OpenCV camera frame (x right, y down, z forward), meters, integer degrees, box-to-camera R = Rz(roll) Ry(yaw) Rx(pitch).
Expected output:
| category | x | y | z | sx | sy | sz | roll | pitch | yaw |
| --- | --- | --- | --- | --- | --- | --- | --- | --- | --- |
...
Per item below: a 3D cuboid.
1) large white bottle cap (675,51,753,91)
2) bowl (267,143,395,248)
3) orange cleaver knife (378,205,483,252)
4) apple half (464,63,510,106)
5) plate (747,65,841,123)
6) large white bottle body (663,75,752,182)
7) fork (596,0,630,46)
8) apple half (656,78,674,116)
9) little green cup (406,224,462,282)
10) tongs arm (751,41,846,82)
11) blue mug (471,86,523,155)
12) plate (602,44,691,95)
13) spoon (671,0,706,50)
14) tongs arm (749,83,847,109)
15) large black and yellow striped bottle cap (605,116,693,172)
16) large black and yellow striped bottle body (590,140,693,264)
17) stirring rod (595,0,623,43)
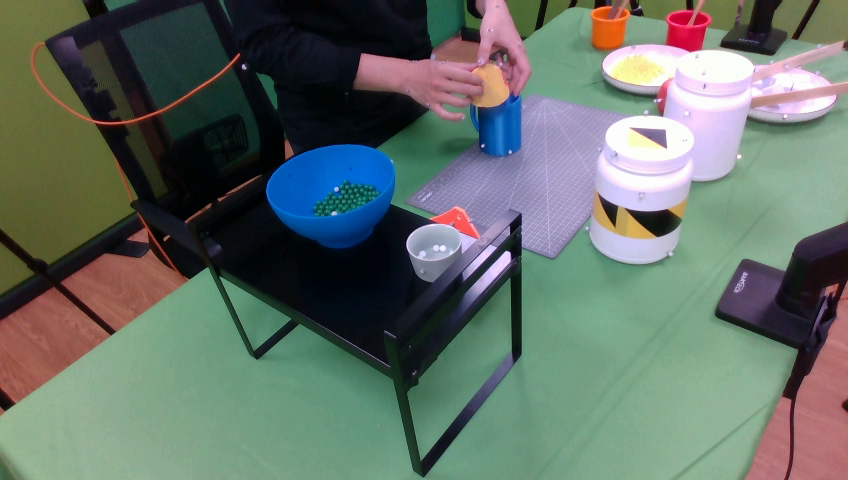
| category | x | y | z | sx | sy | sz | roll | pitch | yaw |
| --- | --- | --- | --- | --- | --- | --- | --- | --- | --- |
| large white bottle cap | 0.463 | -0.271 | 0.967 | 0.115 | 0.018 | 0.114 | -4 | 40 | 3 |
| bowl | -0.104 | -0.043 | 0.726 | 0.151 | 0.077 | 0.150 | -4 | 41 | 4 |
| orange cleaver knife | 0.005 | -0.010 | 0.944 | 0.210 | 0.077 | 0.012 | -5 | 23 | 47 |
| apple half | 0.109 | -0.272 | 1.042 | 0.081 | 0.081 | 0.032 | 4 | 41 | 13 |
| plate | 0.694 | -0.282 | 1.189 | 0.207 | 0.039 | 0.206 | -4 | 40 | 4 |
| large white bottle body | 0.472 | -0.207 | 1.022 | 0.130 | 0.185 | 0.130 | -4 | 41 | 4 |
| fork | 0.481 | -0.556 | 1.452 | 0.028 | 0.019 | 0.207 | 40 | 103 | 40 |
| apple half | 0.488 | -0.281 | 1.192 | 0.053 | 0.075 | 0.081 | 24 | 54 | 37 |
| little green cup | 0.012 | 0.015 | 0.668 | 0.061 | 0.039 | 0.061 | -4 | 40 | 4 |
| tongs arm | 0.708 | -0.331 | 1.194 | 0.386 | 0.026 | 0.050 | -18 | 45 | -16 |
| blue mug | 0.135 | -0.235 | 1.163 | 0.082 | 0.106 | 0.115 | -36 | 48 | -28 |
| plate | 0.495 | -0.367 | 1.317 | 0.209 | 0.038 | 0.208 | -4 | 40 | 4 |
| spoon | 0.629 | -0.520 | 1.394 | 0.041 | 0.022 | 0.193 | 30 | 96 | 34 |
| tongs arm | 0.734 | -0.280 | 1.133 | 0.388 | 0.028 | 0.028 | -9 | 47 | -5 |
| large black and yellow striped bottle cap | 0.309 | -0.134 | 0.833 | 0.115 | 0.019 | 0.114 | -5 | 40 | 5 |
| large black and yellow striped bottle body | 0.317 | -0.071 | 0.889 | 0.131 | 0.185 | 0.130 | -4 | 41 | 4 |
| stirring rod | 0.460 | -0.556 | 1.460 | 0.014 | 0.006 | 0.176 | 30 | 93 | 23 |
